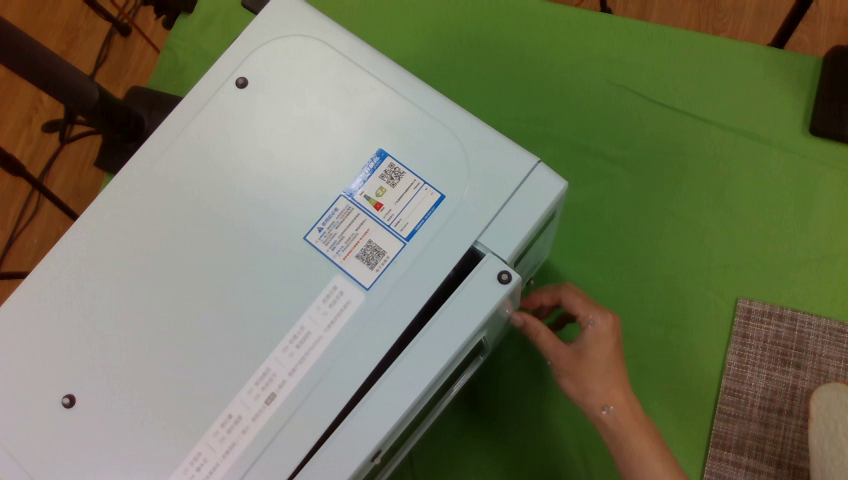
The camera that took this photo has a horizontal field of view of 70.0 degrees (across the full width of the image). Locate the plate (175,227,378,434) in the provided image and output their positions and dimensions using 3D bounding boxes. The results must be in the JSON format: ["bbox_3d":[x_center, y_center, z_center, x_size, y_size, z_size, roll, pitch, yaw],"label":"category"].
[{"bbox_3d":[-0.148,0.091,0.624,0.207,0.039,0.206,-1,77,4],"label":"plate"}]

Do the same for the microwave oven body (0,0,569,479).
[{"bbox_3d":[-0.133,0.055,0.577,0.324,0.261,0.441,37,84,14],"label":"microwave oven body"}]

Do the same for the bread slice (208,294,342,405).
[{"bbox_3d":[-0.152,0.119,0.622,0.134,0.018,0.106,-10,75,-3],"label":"bread slice"}]

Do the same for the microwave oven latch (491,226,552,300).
[{"bbox_3d":[0.105,0.026,0.653,0.030,0.029,0.079,40,85,14],"label":"microwave oven latch"}]

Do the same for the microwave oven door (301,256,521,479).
[{"bbox_3d":[-0.041,0.175,0.530,0.039,0.245,0.355,39,84,16],"label":"microwave oven door"}]
